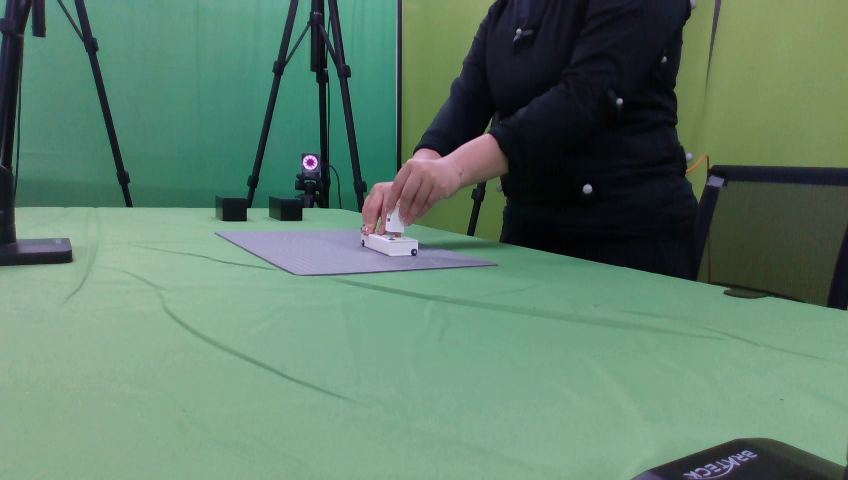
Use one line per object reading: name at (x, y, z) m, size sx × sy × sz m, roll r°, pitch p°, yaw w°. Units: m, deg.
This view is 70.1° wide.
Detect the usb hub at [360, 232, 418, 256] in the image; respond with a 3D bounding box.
usb hub at (-0.058, 0.005, 0.950) m, size 0.050 × 0.025 × 0.124 m, roll -2°, pitch 7°, yaw -26°

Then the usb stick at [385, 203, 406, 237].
usb stick at (-0.044, -0.027, 0.933) m, size 0.027 × 0.059 × 0.021 m, roll -1°, pitch 7°, yaw -29°
